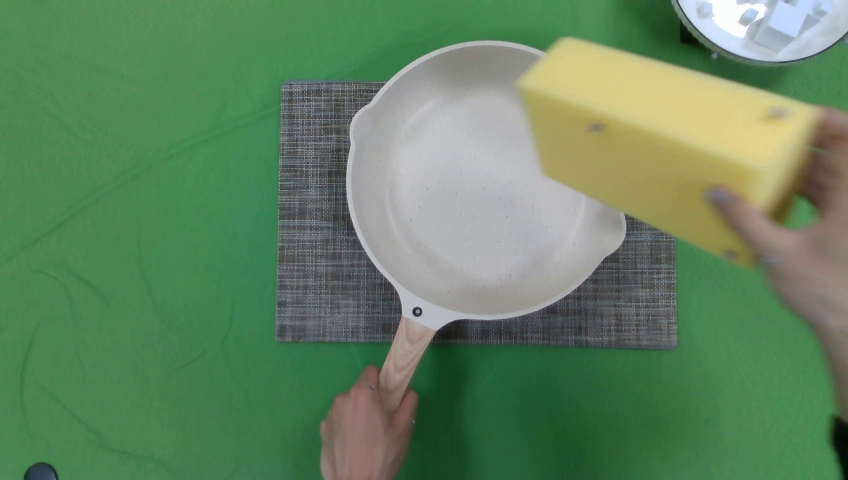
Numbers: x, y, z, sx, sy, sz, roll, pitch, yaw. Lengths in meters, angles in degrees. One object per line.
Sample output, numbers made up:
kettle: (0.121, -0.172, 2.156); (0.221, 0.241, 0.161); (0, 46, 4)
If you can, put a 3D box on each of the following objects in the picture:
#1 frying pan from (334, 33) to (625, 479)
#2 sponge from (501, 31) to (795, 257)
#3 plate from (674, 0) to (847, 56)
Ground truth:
frying pan: (0.019, 0.023, 0.637); (0.306, 0.103, 0.486); (25, 81, 6)
sponge: (0.169, -0.080, 0.478); (0.204, 0.119, 0.061); (32, 76, 40)
plate: (0.349, -0.288, 0.623); (0.207, 0.039, 0.207); (0, 87, 2)
